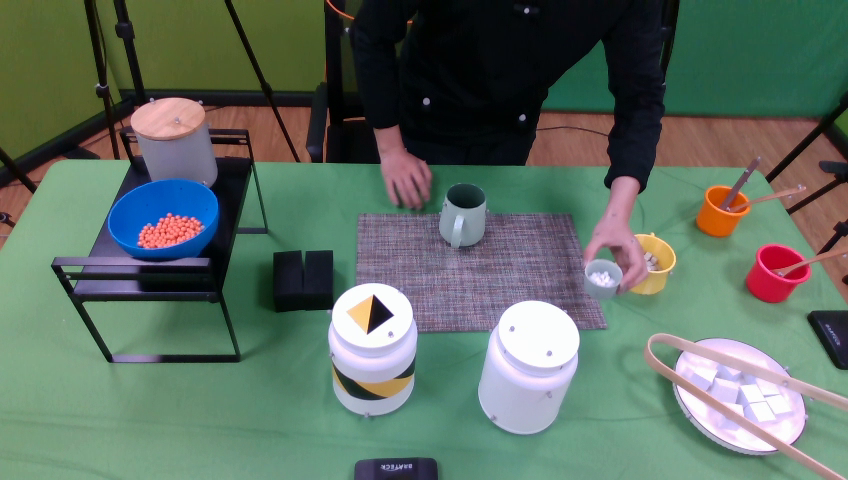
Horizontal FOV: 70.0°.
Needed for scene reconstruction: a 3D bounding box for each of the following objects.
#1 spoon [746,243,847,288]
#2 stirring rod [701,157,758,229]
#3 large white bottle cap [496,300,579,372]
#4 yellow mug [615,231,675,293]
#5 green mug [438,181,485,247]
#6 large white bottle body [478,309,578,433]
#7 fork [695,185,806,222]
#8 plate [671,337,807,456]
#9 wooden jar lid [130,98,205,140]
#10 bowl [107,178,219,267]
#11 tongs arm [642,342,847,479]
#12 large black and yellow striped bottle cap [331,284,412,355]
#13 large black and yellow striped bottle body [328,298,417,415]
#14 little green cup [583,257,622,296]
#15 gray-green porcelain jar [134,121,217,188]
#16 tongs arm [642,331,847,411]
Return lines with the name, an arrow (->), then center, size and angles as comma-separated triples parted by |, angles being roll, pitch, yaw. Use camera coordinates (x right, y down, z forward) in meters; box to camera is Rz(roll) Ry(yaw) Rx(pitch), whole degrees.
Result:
spoon -> 0.702, 0.044, 1.126 | 0.194, 0.022, 0.041 | -29, 38, 30
stirring rod -> 0.634, -0.097, 1.257 | 0.014, 0.006, 0.176 | 38, 97, 29
large white bottle cap -> 0.160, 0.133, 0.852 | 0.115, 0.018, 0.114 | 3, 46, -3
yellow mug -> 0.423, 0.033, 1.168 | 0.100, 0.064, 0.130 | 18, 46, 13
green mug -> 0.071, -0.039, 1.177 | 0.092, 0.105, 0.124 | 12, 47, 7
large white bottle body -> 0.156, 0.192, 0.913 | 0.131, 0.185, 0.130 | 2, 46, -2
fork -> 0.658, -0.074, 1.229 | 0.207, 0.019, 0.028 | -23, 36, 37
plate -> 0.504, 0.254, 0.984 | 0.208, 0.039, 0.206 | 2, 46, -2
wooden jar lid -> -0.393, -0.183, 0.934 | 0.108, 0.021, 0.107 | 2, 43, -2
bowl -> -0.374, -0.014, 0.894 | 0.151, 0.077, 0.150 | 2, 46, -2
tongs arm -> 0.504, 0.278, 0.918 | 0.386, 0.028, 0.028 | 34, 59, 22
large black and yellow striped bottle cap -> -0.073, 0.110, 0.857 | 0.115, 0.019, 0.114 | 2, 46, -2
large black and yellow striped bottle body -> -0.078, 0.167, 0.920 | 0.131, 0.185, 0.130 | 2, 46, -2
little green cup -> 0.295, 0.062, 1.011 | 0.061, 0.039, 0.061 | 2, 45, -2
gray-green porcelain jar -> -0.397, -0.141, 0.980 | 0.106, 0.127, 0.105 | 2, 47, -2
tongs arm -> 0.546, 0.227, 0.968 | 0.384, 0.026, 0.050 | 22, 52, 13
